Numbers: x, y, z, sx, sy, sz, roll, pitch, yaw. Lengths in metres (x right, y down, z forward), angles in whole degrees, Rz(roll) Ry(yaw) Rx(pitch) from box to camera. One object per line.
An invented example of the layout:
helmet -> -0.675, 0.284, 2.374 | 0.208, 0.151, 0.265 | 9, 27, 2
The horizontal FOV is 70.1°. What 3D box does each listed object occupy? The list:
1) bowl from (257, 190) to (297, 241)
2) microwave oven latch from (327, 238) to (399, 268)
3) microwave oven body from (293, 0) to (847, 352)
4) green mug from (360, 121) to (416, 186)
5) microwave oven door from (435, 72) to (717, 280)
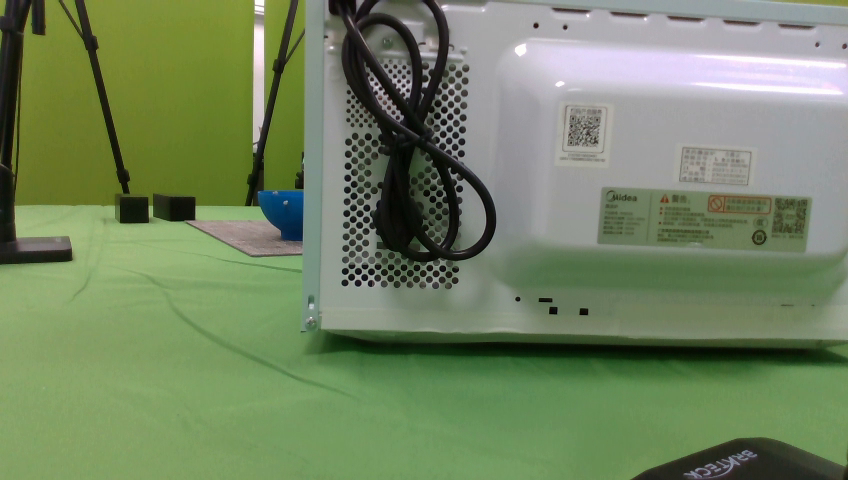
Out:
bowl -> -0.206, -0.041, 1.027 | 0.151, 0.077, 0.151 | 3, 8, 0
microwave oven latch -> -0.069, 0.015, 0.694 | 0.079, 0.029, 0.030 | 3, 7, -3
microwave oven body -> 0.122, -0.055, 0.550 | 0.442, 0.260, 0.325 | 3, 7, -5
green mug -> -0.058, -0.146, 1.025 | 0.092, 0.105, 0.125 | 2, 9, 4
microwave oven door -> 0.180, -0.090, 0.795 | 0.354, 0.243, 0.039 | 6, 7, 30
